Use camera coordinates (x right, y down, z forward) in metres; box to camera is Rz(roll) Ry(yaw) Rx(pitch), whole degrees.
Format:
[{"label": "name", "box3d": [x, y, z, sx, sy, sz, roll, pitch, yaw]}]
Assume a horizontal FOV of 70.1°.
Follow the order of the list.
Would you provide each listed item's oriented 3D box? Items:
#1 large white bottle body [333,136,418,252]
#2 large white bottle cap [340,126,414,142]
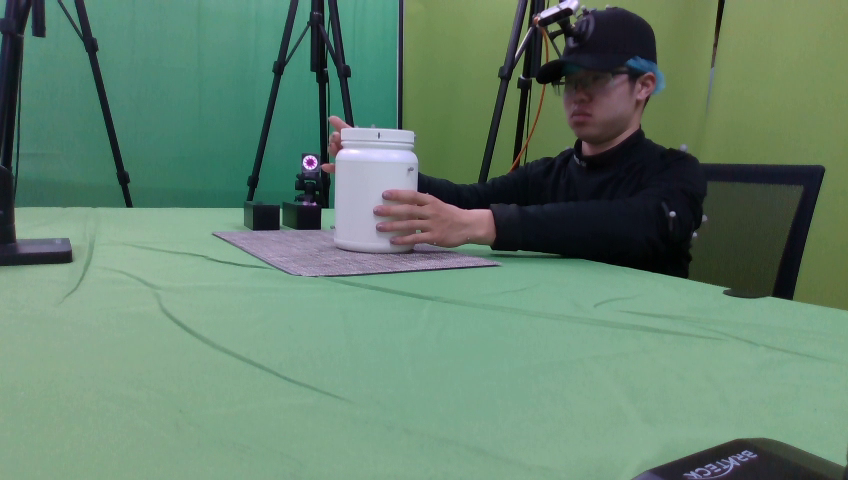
[{"label": "large white bottle body", "box3d": [-0.075, -0.080, 0.950, 0.131, 0.184, 0.130, 2, 8, 0]}, {"label": "large white bottle cap", "box3d": [-0.073, -0.164, 0.940, 0.115, 0.018, 0.115, 2, 7, 0]}]
